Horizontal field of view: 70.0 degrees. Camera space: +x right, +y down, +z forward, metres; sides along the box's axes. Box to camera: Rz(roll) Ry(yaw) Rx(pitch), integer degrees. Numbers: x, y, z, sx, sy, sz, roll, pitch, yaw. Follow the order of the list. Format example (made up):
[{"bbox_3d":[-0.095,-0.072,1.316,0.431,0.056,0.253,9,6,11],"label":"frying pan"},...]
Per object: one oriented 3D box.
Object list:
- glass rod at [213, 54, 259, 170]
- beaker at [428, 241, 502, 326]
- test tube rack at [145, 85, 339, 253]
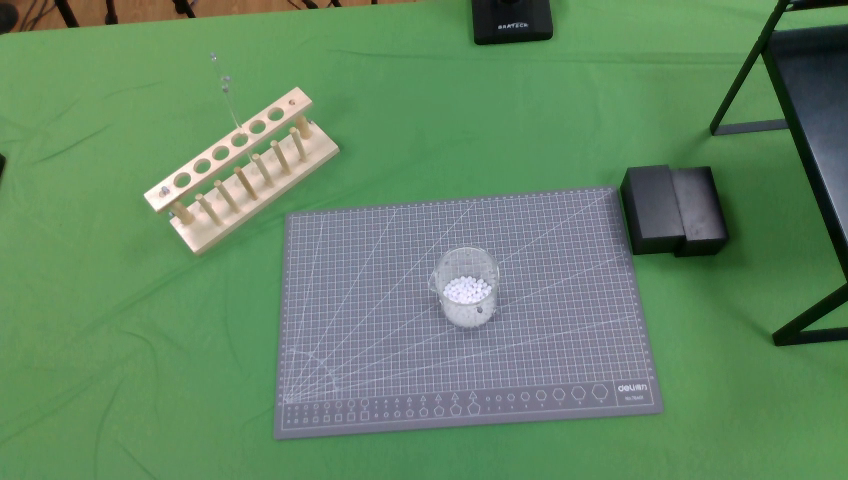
[{"bbox_3d":[-0.235,-0.154,0.770,0.008,0.201,0.008,0,57,1],"label":"glass rod"},{"bbox_3d":[0.049,0.056,0.714,0.084,0.101,0.073,-15,65,-2],"label":"beaker"},{"bbox_3d":[-0.237,-0.096,0.816,0.242,0.086,0.066,-39,68,-13],"label":"test tube rack"}]
